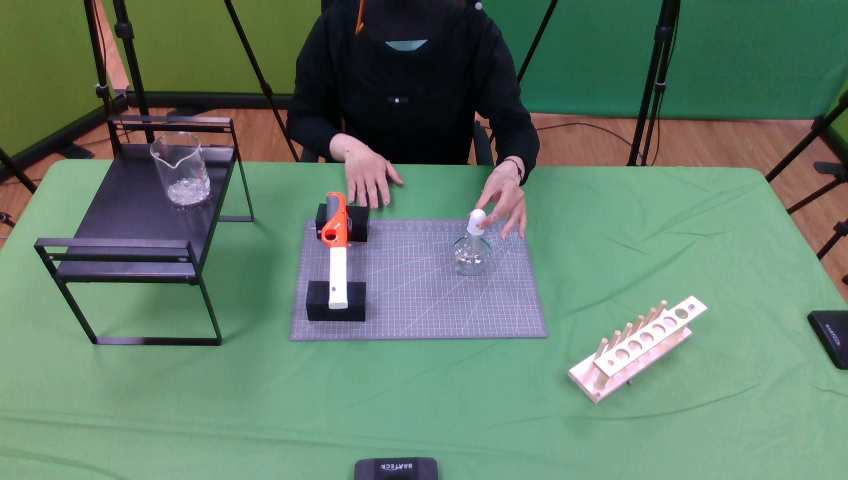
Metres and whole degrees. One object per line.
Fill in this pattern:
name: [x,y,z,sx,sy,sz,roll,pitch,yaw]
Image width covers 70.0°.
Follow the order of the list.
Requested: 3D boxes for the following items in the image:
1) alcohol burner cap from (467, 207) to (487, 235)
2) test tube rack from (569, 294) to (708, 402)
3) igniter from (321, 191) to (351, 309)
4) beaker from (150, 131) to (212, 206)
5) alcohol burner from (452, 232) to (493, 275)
alcohol burner cap: [0.096,-0.036,1.077,0.034,0.048,0.033,3,41,-2]
test tube rack: [0.360,0.167,1.014,0.242,0.085,0.066,-25,53,-25]
igniter: [-0.159,0.008,1.101,0.057,0.025,0.274,-2,48,-7]
beaker: [-0.385,-0.110,0.969,0.074,0.101,0.083,-6,48,-9]
alcohol burner: [0.092,0.009,1.124,0.078,0.119,0.077,2,48,-2]
